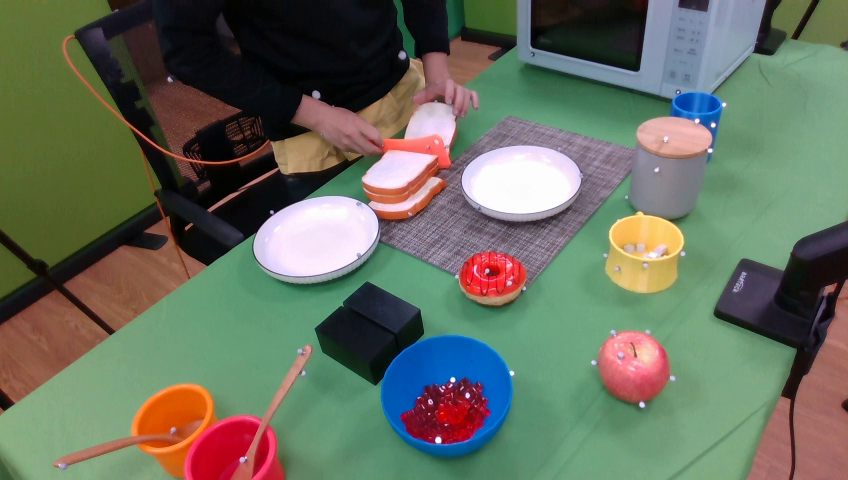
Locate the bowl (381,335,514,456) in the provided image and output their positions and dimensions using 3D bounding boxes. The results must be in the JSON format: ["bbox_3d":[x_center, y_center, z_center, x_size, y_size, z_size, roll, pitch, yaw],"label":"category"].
[{"bbox_3d":[0.029,0.192,0.701,0.151,0.077,0.150,-4,40,4],"label":"bowl"}]

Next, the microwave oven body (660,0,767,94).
[{"bbox_3d":[0.473,-0.516,1.313,0.438,0.261,0.327,26,51,34],"label":"microwave oven body"}]

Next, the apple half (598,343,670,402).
[{"bbox_3d":[0.247,0.161,0.710,0.081,0.075,0.053,2,47,5],"label":"apple half"}]

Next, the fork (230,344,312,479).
[{"bbox_3d":[-0.173,0.205,0.662,0.028,0.019,0.207,29,94,36],"label":"fork"}]

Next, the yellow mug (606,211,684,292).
[{"bbox_3d":[0.318,0.008,0.883,0.100,0.064,0.130,0,40,9],"label":"yellow mug"}]

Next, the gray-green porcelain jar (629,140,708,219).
[{"bbox_3d":[0.383,-0.105,0.958,0.106,0.127,0.105,-4,41,4],"label":"gray-green porcelain jar"}]

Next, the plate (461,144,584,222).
[{"bbox_3d":[0.168,-0.095,1.040,0.207,0.039,0.206,-4,40,4],"label":"plate"}]

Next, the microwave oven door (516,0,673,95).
[{"bbox_3d":[0.344,-0.458,1.256,0.353,0.245,0.039,26,51,33],"label":"microwave oven door"}]

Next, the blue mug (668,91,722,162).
[{"bbox_3d":[0.474,-0.207,1.079,0.082,0.106,0.116,4,42,13],"label":"blue mug"}]

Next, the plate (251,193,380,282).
[{"bbox_3d":[-0.174,-0.001,0.984,0.209,0.038,0.208,-4,40,4],"label":"plate"}]

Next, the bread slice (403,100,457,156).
[{"bbox_3d":[0.014,-0.209,1.170,0.104,0.019,0.131,9,74,20],"label":"bread slice"}]

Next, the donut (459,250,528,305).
[{"bbox_3d":[0.100,0.053,0.872,0.099,0.048,0.098,-5,40,4],"label":"donut"}]

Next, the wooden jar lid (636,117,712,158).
[{"bbox_3d":[0.377,-0.151,0.917,0.108,0.021,0.108,-2,42,2],"label":"wooden jar lid"}]

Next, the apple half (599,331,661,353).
[{"bbox_3d":[0.249,0.134,0.738,0.081,0.081,0.032,-1,46,7],"label":"apple half"}]

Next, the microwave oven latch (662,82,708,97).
[{"bbox_3d":[0.517,-0.298,1.202,0.078,0.029,0.030,27,52,34],"label":"microwave oven latch"}]

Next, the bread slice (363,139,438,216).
[{"bbox_3d":[-0.049,-0.107,1.035,0.106,0.018,0.134,18,77,22],"label":"bread slice"}]

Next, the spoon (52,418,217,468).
[{"bbox_3d":[-0.308,0.220,0.663,0.041,0.195,0.021,22,93,29],"label":"spoon"}]

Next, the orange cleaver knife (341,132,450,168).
[{"bbox_3d":[-0.054,-0.170,1.136,0.210,0.077,0.012,5,35,16],"label":"orange cleaver knife"}]
